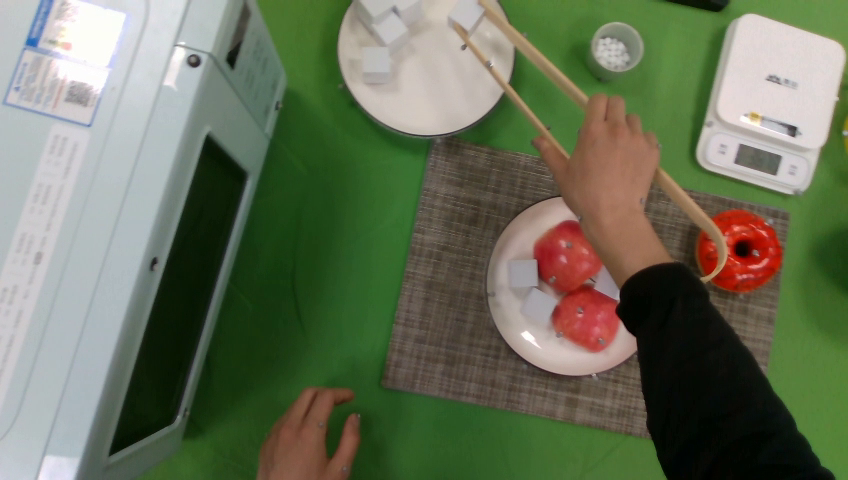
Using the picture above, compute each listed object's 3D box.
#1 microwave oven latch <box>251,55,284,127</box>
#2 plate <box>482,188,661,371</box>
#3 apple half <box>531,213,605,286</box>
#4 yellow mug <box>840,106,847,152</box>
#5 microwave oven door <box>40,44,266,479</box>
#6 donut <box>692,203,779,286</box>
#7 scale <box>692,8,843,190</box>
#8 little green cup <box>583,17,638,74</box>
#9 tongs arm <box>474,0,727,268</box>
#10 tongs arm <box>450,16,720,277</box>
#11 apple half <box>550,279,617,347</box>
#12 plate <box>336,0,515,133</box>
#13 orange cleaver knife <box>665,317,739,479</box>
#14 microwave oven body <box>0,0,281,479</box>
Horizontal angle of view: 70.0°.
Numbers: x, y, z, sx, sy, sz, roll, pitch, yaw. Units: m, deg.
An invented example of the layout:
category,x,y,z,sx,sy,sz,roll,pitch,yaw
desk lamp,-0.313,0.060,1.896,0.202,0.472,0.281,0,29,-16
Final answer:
category,x,y,z,sx,sy,sz,roll,pitch,yaw
microwave oven latch,-0.180,-0.169,0.680,0.030,0.029,0.079,17,85,-3
plate,0.168,0.045,0.702,0.209,0.038,0.208,0,85,-4
apple half,0.166,0.008,0.689,0.081,0.053,0.074,-33,85,-6
yellow mug,0.571,-0.155,0.737,0.100,0.064,0.130,-21,86,-5
microwave oven door,-0.231,0.032,0.557,0.039,0.244,0.355,14,84,-2
donut,0.366,0.006,0.716,0.099,0.048,0.099,0,84,-2
scale,0.422,-0.173,0.746,0.149,0.031,0.200,16,85,-2
little green cup,0.223,-0.232,0.733,0.061,0.038,0.061,0,84,-4
tongs arm,0.171,-0.125,0.625,0.028,0.028,0.384,-37,71,-4
tongs arm,0.152,-0.110,0.625,0.051,0.027,0.382,-34,71,1
apple half,0.188,0.082,0.694,0.081,0.033,0.081,0,86,0
plate,0.002,-0.225,0.717,0.208,0.039,0.207,0,85,-4
orange cleaver knife,0.332,0.199,0.710,0.077,0.012,0.210,-6,84,-9
microwave oven body,-0.361,-0.046,0.560,0.326,0.260,0.440,15,85,-3
